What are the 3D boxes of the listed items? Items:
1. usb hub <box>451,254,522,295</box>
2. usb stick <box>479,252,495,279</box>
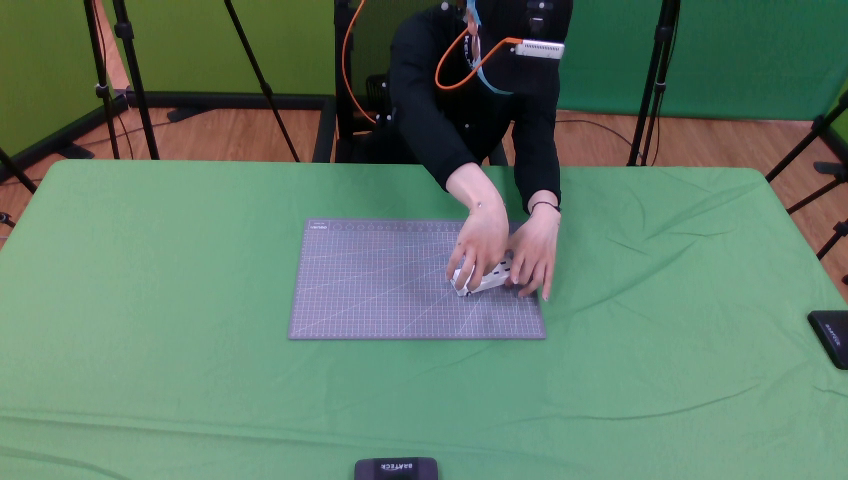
[{"bbox_3d":[0.116,0.065,1.133,0.125,0.025,0.049,-15,49,-16],"label":"usb hub"},{"bbox_3d":[0.113,0.051,1.096,0.021,0.059,0.027,-21,50,-17],"label":"usb stick"}]
